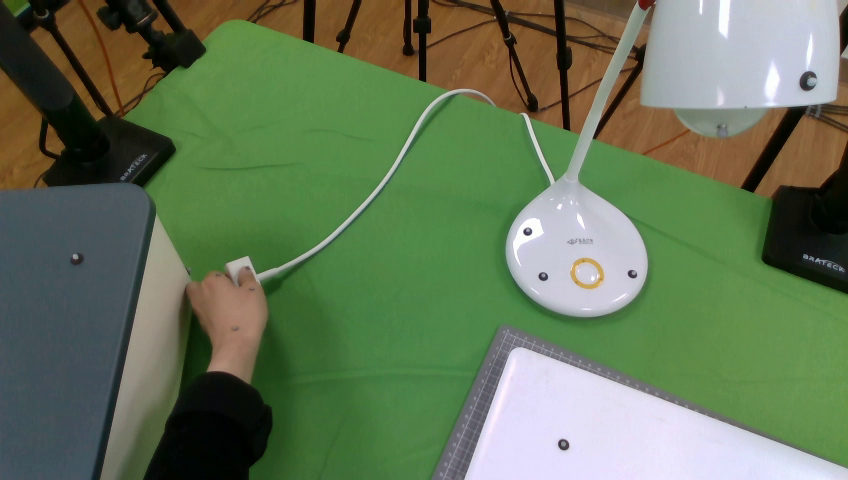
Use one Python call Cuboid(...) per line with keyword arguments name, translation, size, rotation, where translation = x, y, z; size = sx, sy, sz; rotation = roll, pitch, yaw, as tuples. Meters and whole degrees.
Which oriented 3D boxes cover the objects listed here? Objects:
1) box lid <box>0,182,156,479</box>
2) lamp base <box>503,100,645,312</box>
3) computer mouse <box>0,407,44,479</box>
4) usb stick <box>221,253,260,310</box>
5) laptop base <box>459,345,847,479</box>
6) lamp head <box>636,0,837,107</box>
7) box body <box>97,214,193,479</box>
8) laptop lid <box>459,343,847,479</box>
Cuboid(name="box lid", translation=(-0.363, 0.106, 0.457), size=(0.263, 0.015, 0.368), rotation=(-2, 59, -2))
Cuboid(name="lamp base", translation=(0.166, -0.041, 0.632), size=(0.161, 0.182, 0.177), rotation=(-12, 56, -8))
Cuboid(name="computer mouse", translation=(-0.394, 0.193, 0.549), size=(0.063, 0.041, 0.116), rotation=(-29, 22, -7))
Cuboid(name="usb stick", translation=(-0.197, 0.046, 0.658), size=(0.027, 0.021, 0.059), rotation=(-19, 91, -31))
Cuboid(name="laptop base", translation=(0.206, 0.256, 0.541), size=(0.353, 0.023, 0.234), rotation=(19, 63, 11))
Cuboid(name="lamp head", translation=(0.187, -0.144, 0.367), size=(0.112, 0.112, 0.123), rotation=(-5, 102, -3))
Cuboid(name="box body", translation=(-0.364, 0.148, 0.518), size=(0.254, 0.162, 0.360), rotation=(-2, 58, -2))
Cuboid(name="laptop lid", translation=(0.205, 0.251, 0.530), size=(0.355, 0.013, 0.240), rotation=(21, 63, 12))
